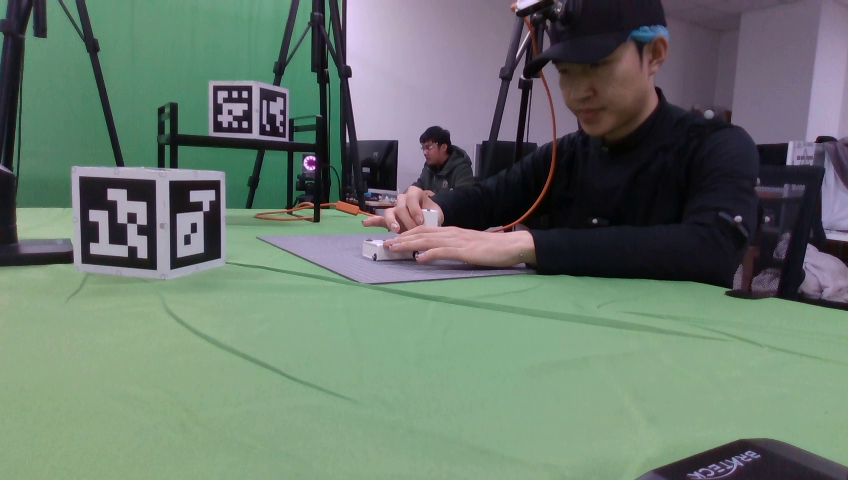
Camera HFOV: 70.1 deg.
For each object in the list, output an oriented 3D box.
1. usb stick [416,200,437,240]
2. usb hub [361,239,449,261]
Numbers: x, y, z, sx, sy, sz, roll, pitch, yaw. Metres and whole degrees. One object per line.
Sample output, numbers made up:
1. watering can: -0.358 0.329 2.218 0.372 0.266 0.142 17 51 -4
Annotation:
1. usb stick: 0.003 -0.030 0.901 0.027 0.059 0.021 2 16 32
2. usb hub: -0.027 0.014 0.895 0.126 0.025 0.049 -1 8 -32
